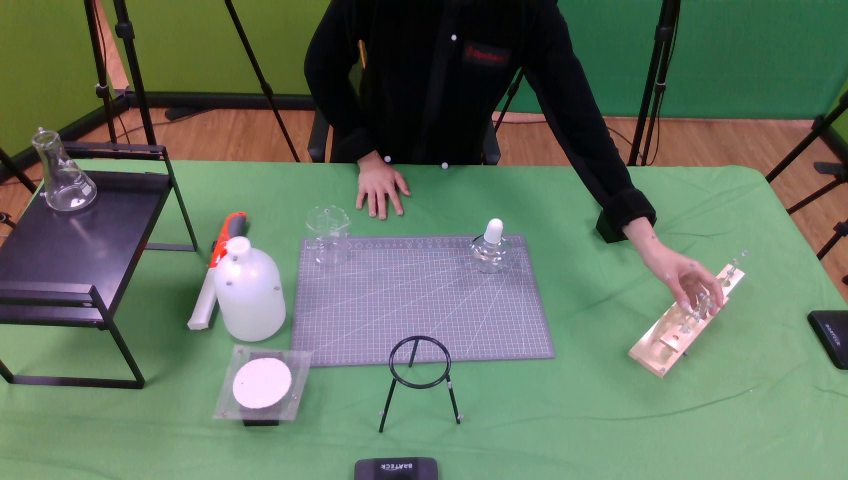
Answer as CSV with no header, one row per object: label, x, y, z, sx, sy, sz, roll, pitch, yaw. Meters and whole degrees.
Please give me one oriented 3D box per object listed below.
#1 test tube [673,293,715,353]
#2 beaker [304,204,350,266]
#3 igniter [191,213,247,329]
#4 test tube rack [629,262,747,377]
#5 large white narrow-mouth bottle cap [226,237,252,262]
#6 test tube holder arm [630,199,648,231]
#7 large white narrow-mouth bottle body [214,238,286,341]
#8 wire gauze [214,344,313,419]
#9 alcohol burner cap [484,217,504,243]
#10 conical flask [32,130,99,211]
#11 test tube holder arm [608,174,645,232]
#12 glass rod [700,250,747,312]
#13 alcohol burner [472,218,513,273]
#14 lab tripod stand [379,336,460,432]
test tube,0.429,0.137,0.979,0.017,0.151,0.017,5,46,-5
beaker,-0.178,-0.006,1.132,0.084,0.101,0.073,4,46,-1
igniter,-0.376,0.047,1.121,0.057,0.025,0.275,-4,46,6
test tube rack,0.464,0.126,1.060,0.242,0.085,0.066,-34,56,-31
large white narrow-mouth bottle cap,-0.282,0.014,0.923,0.038,0.024,0.037,2,46,-2
test tube holder arm,0.424,-0.050,1.206,0.010,0.015,0.087,1,42,-11
large white narrow-mouth bottle body,-0.285,0.073,0.986,0.102,0.195,0.101,2,46,-2
wire gauze,-0.241,0.213,0.915,0.121,0.011,0.124,5,46,1
alcohol burner cap,0.130,-0.021,1.107,0.034,0.048,0.033,5,46,-5
conical flask,-0.565,-0.111,0.944,0.075,0.122,0.075,2,46,-2
test tube holder arm,0.412,-0.080,1.238,0.013,0.015,0.177,0,42,-12
glass rod,0.500,0.075,1.021,0.008,0.201,0.008,0,55,1
alcohol burner,0.128,0.005,1.132,0.078,0.120,0.077,0,47,0
lab tripod stand,-0.010,0.214,0.911,0.148,0.132,0.147,1,45,-1
